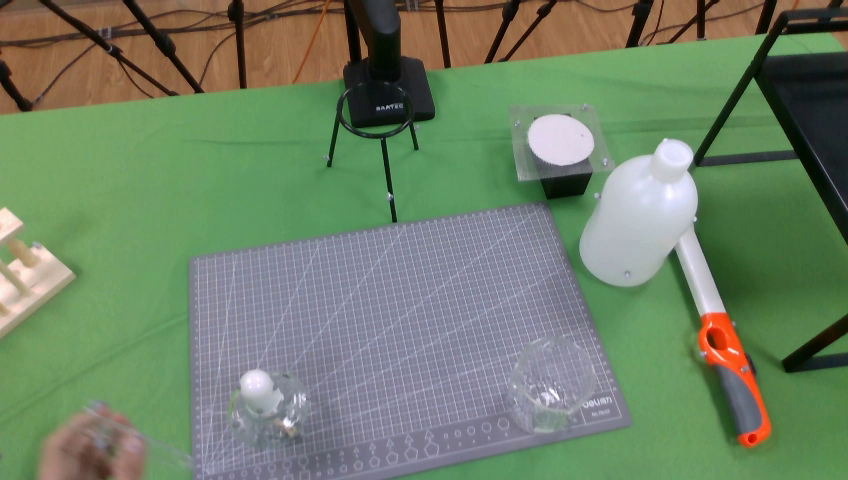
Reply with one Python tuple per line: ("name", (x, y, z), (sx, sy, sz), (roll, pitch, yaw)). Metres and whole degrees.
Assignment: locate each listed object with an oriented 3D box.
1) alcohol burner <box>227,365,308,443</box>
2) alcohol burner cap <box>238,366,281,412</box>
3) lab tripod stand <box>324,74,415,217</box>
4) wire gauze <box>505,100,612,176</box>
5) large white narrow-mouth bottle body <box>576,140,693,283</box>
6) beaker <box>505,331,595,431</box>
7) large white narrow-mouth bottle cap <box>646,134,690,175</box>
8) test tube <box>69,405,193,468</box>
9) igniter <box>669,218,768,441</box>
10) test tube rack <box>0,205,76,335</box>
("alcohol burner", (-0.153, 0.152, 0.584), (0.078, 0.120, 0.077), (2, 57, -3))
("alcohol burner cap", (-0.152, 0.134, 0.553), (0.034, 0.048, 0.033), (-1, 53, 1))
("lab tripod stand", (-0.058, -0.122, 0.747), (0.148, 0.132, 0.147), (2, 59, -3))
("wire gauze", (0.170, -0.136, 0.779), (0.121, 0.011, 0.124), (-3, 58, -4))
("large white narrow-mouth bottle body", (0.238, -0.038, 0.671), (0.102, 0.196, 0.101), (1, 58, -1))
("beaker", (0.118, 0.146, 0.607), (0.084, 0.101, 0.073), (-8, 59, -6))
("large white narrow-mouth bottle cap", (0.240, -0.085, 0.598), (0.038, 0.024, 0.037), (1, 58, -1))
("test tube", (-0.209, 0.148, 0.445), (0.017, 0.151, 0.017), (-3, 60, 6))
("igniter", (0.329, 0.090, 0.695), (0.057, 0.025, 0.274), (1, 58, -13))
("test tube rack", (-0.506, 0.081, 0.633), (0.066, 0.086, 0.242), (34, 63, 17))
